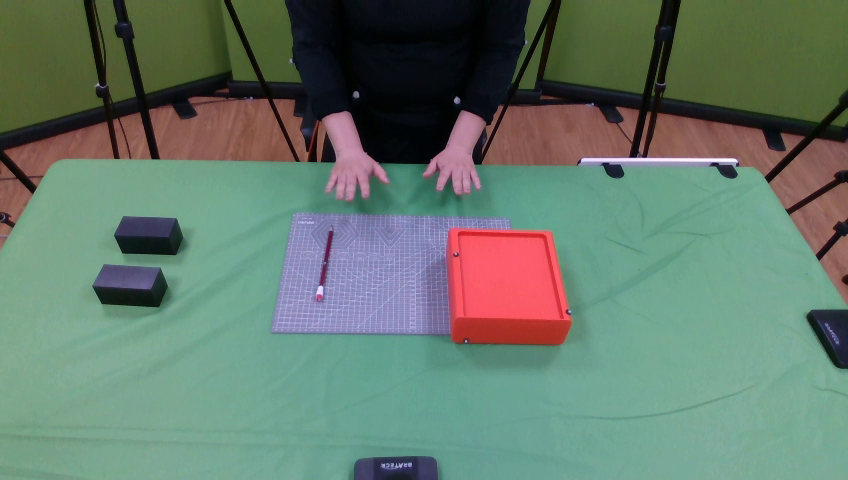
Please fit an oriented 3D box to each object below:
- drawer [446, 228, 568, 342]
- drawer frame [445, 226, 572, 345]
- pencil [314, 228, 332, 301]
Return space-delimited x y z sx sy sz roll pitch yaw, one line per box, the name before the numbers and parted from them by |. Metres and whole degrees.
drawer | 0.142 0.078 1.089 0.195 0.073 0.210 2 47 -4
drawer frame | 0.144 0.078 1.087 0.202 0.083 0.212 2 47 -4
pencil | -0.189 0.041 1.148 0.012 0.012 0.193 3 43 -1
